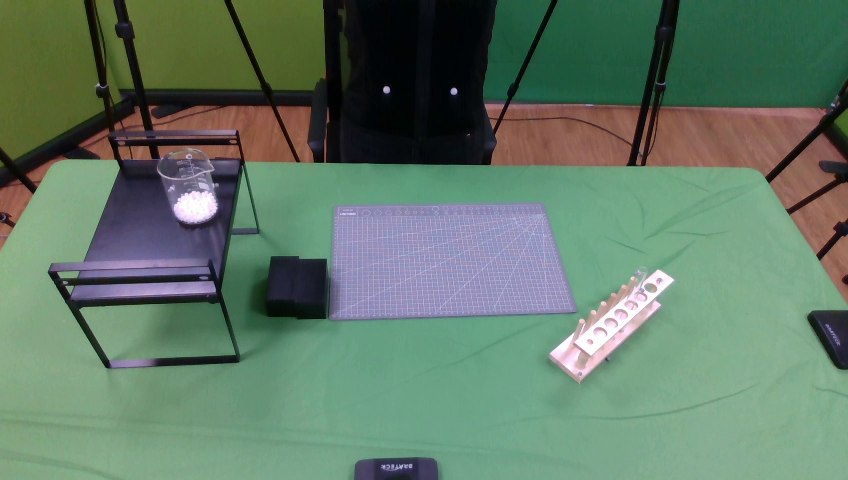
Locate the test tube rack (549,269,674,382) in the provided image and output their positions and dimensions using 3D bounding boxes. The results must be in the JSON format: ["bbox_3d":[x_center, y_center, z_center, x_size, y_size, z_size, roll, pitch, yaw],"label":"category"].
[{"bbox_3d":[0.325,0.134,1.047,0.242,0.085,0.066,-32,56,-30],"label":"test tube rack"}]

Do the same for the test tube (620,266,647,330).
[{"bbox_3d":[0.347,0.100,1.013,0.017,0.151,0.017,1,43,0],"label":"test tube"}]

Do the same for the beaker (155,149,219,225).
[{"bbox_3d":[-0.362,-0.080,0.945,0.084,0.101,0.073,4,46,-1],"label":"beaker"}]
